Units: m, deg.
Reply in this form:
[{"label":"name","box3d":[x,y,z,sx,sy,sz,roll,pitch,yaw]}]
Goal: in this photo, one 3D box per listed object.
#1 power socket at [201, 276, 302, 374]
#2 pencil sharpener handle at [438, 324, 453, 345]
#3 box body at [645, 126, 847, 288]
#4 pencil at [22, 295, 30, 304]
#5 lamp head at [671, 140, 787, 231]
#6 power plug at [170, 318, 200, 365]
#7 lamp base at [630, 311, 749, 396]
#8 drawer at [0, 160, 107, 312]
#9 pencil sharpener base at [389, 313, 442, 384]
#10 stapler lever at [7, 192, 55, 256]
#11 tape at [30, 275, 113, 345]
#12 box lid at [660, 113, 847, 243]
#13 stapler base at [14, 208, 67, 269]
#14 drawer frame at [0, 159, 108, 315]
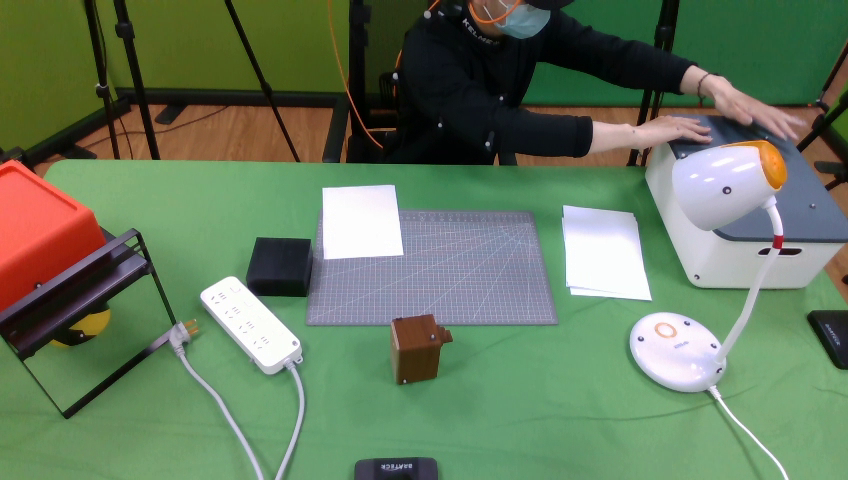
[{"label":"power socket","box3d":[-0.297,0.141,1.034,0.072,0.033,0.225,-34,58,-30]},{"label":"pencil sharpener handle","box3d":[0.036,0.155,0.976,0.031,0.068,0.036,-8,69,-11]},{"label":"box body","box3d":[0.625,-0.080,1.222,0.254,0.161,0.361,0,46,-3]},{"label":"pencil","box3d":[-0.590,0.010,0.883,0.012,0.012,0.193,-17,61,-20]},{"label":"lamp head","box3d":[0.415,-0.078,0.811,0.113,0.123,0.112,12,70,-37]},{"label":"power plug","box3d":[-0.392,0.167,1.014,0.052,0.035,0.072,-30,91,-23]},{"label":"lamp base","box3d":[0.447,0.143,0.983,0.161,0.181,0.178,-24,55,-24]},{"label":"drawer","box3d":[-0.610,-0.001,0.866,0.194,0.073,0.211,29,52,21]},{"label":"pencil sharpener base","box3d":[-0.013,0.175,0.971,0.077,0.107,0.061,-8,47,-12]},{"label":"stapler lever","box3d":[-0.575,-0.026,0.885,0.027,0.040,0.117,-31,56,-25]},{"label":"tape","box3d":[-0.593,0.117,1.021,0.117,0.053,0.116,3,46,-2]},{"label":"box lid","box3d":[0.628,-0.133,1.170,0.263,0.015,0.369,1,47,-3]},{"label":"stapler base","box3d":[-0.577,-0.010,0.903,0.041,0.024,0.130,-31,57,-25]},{"label":"drawer frame","box3d":[-0.611,0.000,0.863,0.201,0.083,0.213,27,51,20]}]
